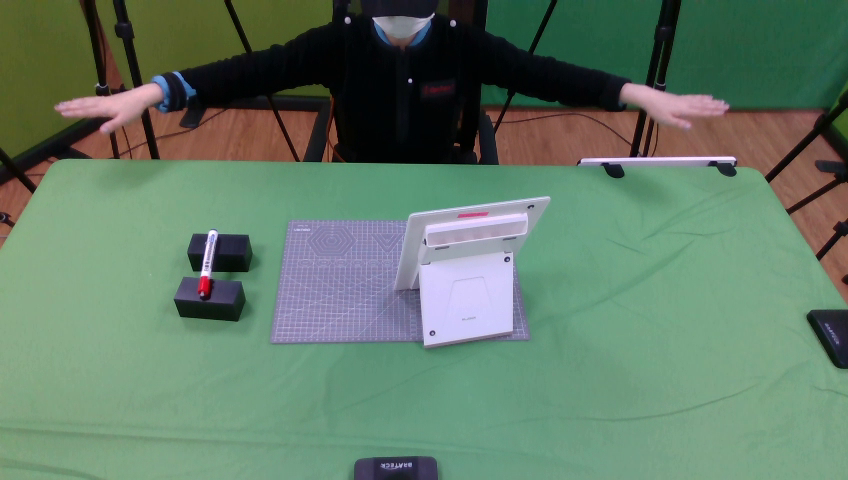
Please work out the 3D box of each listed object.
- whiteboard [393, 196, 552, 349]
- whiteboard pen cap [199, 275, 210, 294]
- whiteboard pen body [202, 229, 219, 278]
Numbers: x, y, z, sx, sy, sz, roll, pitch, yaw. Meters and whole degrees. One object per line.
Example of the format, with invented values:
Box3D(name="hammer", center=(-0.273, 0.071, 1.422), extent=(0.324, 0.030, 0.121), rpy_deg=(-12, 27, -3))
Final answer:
Box3D(name="whiteboard", center=(0.077, 0.071, 0.977), extent=(0.217, 0.306, 0.143), rpy_deg=(-7, 66, -11))
Box3D(name="whiteboard pen cap", center=(-0.372, 0.075, 1.030), extent=(0.017, 0.017, 0.032), rpy_deg=(-4, 48, -8))
Box3D(name="whiteboard pen body", center=(-0.378, 0.033, 1.068), extent=(0.017, 0.017, 0.139), rpy_deg=(-2, 47, -6))
